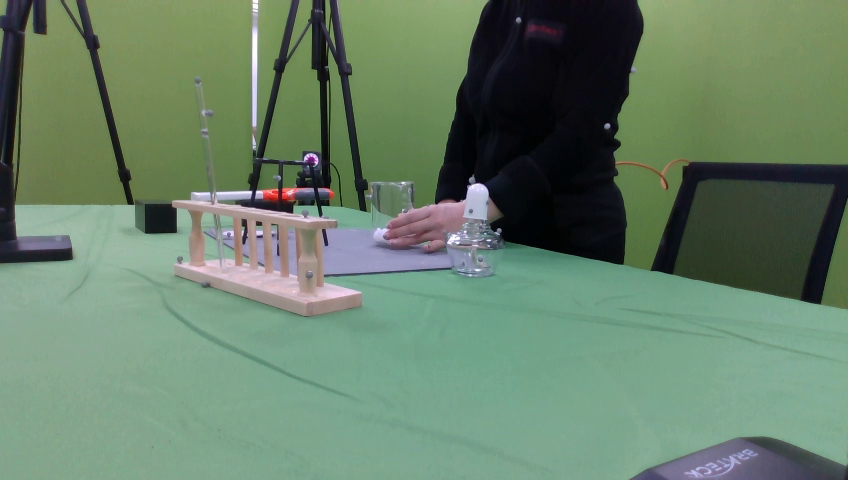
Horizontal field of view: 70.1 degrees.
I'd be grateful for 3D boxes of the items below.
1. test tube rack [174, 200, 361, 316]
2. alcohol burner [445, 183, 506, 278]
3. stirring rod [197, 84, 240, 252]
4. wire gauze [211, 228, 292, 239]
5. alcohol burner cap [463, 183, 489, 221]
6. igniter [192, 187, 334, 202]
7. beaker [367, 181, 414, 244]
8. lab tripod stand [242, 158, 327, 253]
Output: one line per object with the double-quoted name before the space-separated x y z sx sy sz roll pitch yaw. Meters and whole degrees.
"test tube rack" -0.169 0.010 0.622 0.241 0.085 0.067 9 9 41
"alcohol burner" 0.066 -0.013 0.771 0.078 0.119 0.078 0 7 0
"stirring rod" -0.212 -0.072 0.625 0.006 0.176 0.014 -14 12 -21
"wire gauze" -0.298 -0.013 1.039 0.122 0.011 0.124 -2 6 -27
"alcohol burner cap" 0.067 -0.048 0.765 0.034 0.048 0.034 5 5 0
"igniter" -0.316 -0.090 1.213 0.278 0.025 0.057 -5 13 -31
"beaker" -0.050 -0.045 0.973 0.074 0.100 0.083 -4 6 -23
"lab tripod stand" -0.207 -0.054 0.895 0.148 0.131 0.148 2 5 0
